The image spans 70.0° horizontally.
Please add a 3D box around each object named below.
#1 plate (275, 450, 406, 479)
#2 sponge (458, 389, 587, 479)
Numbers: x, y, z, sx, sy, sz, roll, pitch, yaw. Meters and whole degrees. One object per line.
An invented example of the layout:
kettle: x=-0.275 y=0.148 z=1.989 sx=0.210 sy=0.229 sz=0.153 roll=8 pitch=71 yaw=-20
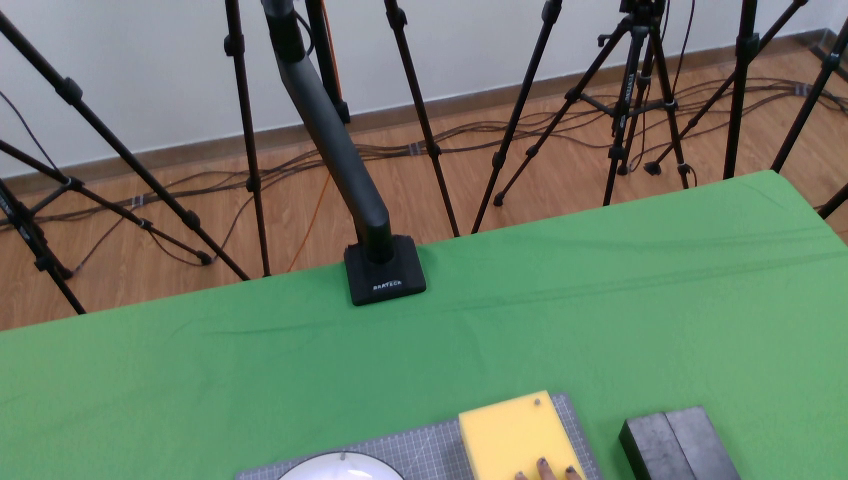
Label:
plate: x=-0.101 y=0.350 z=0.702 sx=0.209 sy=0.038 sz=0.207 roll=-2 pitch=48 yaw=2
sponge: x=0.127 y=0.292 z=0.716 sx=0.118 sy=0.061 sz=0.204 roll=-15 pitch=47 yaw=-7
